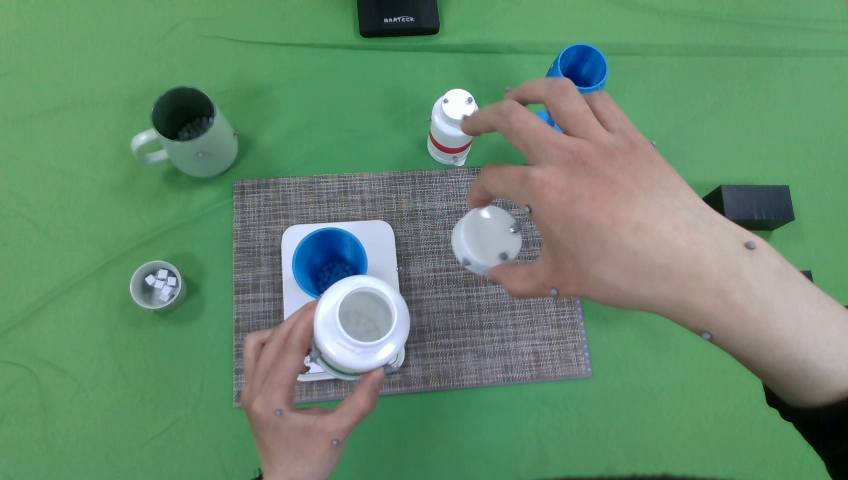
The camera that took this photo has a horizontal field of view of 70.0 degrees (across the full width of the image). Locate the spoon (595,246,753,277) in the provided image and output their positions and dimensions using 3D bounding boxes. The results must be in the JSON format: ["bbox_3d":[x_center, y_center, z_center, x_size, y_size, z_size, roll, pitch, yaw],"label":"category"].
[{"bbox_3d":[0.309,0.029,0.768,0.022,0.192,0.041,19,77,-44],"label":"spoon"}]

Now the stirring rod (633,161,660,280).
[{"bbox_3d":[0.286,-0.020,0.780,0.014,0.177,0.006,1,33,10],"label":"stirring rod"}]

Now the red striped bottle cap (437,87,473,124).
[{"bbox_3d":[0.039,-0.170,0.760,0.044,0.018,0.044,1,72,-3],"label":"red striped bottle cap"}]

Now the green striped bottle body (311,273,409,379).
[{"bbox_3d":[-0.047,0.061,0.425,0.063,0.119,0.063,3,72,-11],"label":"green striped bottle body"}]

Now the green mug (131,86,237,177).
[{"bbox_3d":[-0.314,-0.132,0.786,0.125,0.105,0.092,-26,78,-10],"label":"green mug"}]

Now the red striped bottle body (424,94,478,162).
[{"bbox_3d":[0.036,-0.155,0.812,0.063,0.120,0.062,1,74,-4],"label":"red striped bottle body"}]

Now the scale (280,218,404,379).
[{"bbox_3d":[-0.107,0.072,0.780,0.149,0.032,0.200,-5,75,-5],"label":"scale"}]

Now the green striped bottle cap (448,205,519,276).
[{"bbox_3d":[0.038,0.000,0.393,0.044,0.020,0.044,6,60,-10],"label":"green striped bottle cap"}]

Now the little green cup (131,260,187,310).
[{"bbox_3d":[-0.332,0.059,0.765,0.061,0.039,0.061,2,74,-5],"label":"little green cup"}]

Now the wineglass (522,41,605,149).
[{"bbox_3d":[0.180,-0.186,0.804,0.074,0.173,0.073,1,74,-3],"label":"wineglass"}]

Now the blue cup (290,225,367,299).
[{"bbox_3d":[-0.110,0.036,0.721,0.093,0.100,0.092,1,76,-4],"label":"blue cup"}]
